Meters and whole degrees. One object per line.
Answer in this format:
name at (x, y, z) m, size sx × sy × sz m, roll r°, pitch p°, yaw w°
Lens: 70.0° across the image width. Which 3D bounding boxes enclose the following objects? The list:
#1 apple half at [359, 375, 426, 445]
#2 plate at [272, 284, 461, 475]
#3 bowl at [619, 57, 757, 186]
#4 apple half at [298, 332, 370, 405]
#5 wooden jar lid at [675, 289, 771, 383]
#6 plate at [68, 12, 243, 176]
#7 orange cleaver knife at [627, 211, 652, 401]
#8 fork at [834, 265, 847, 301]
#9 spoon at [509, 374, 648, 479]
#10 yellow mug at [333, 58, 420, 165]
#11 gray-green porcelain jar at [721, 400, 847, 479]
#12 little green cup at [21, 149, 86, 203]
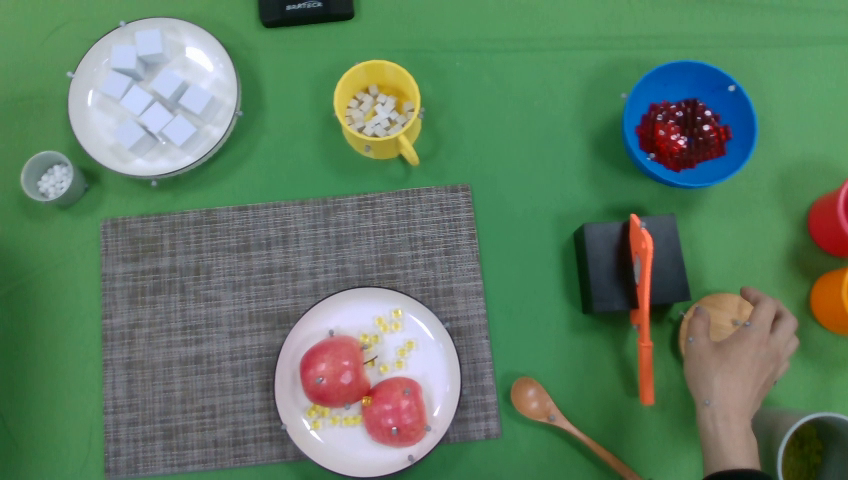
apple half at (-0.035, 0.189, 0.670) m, size 0.081 × 0.033 × 0.081 m, roll 0°, pitch 76°, yaw 1°
plate at (-0.064, 0.153, 0.683) m, size 0.209 × 0.038 × 0.208 m, roll 0°, pitch 81°, yaw 0°
bowl at (0.297, -0.128, 0.714) m, size 0.151 × 0.077 × 0.151 m, roll 0°, pitch 80°, yaw 0°
apple half at (-0.102, 0.143, 0.669) m, size 0.074 × 0.053 × 0.080 m, roll -9°, pitch 81°, yaw 1°
wooden jar lid at (0.344, 0.111, 0.703) m, size 0.108 × 0.021 × 0.108 m, roll 0°, pitch 81°, yaw 1°
plate at (-0.323, -0.176, 0.744) m, size 0.208 × 0.039 × 0.207 m, roll 0°, pitch 80°, yaw 0°
orange cleaver knife at (0.240, 0.074, 0.678) m, size 0.012 × 0.077 × 0.212 m, roll -5°, pitch 104°, yaw 2°
fork at (0.481, 0.097, 0.639) m, size 0.028 × 0.019 × 0.205 m, roll 10°, pitch 37°, yaw 2°
spoon at (0.175, 0.219, 0.682) m, size 0.193 × 0.022 × 0.041 m, roll 37°, pitch 66°, yaw 6°
yellow mug at (-0.046, -0.145, 0.724) m, size 0.100 × 0.064 × 0.130 m, roll -34°, pitch 83°, yaw -6°
gray-green porcelain jar at (0.382, 0.223, 0.629) m, size 0.106 × 0.127 × 0.105 m, roll 0°, pitch 79°, yaw 0°
little green cup at (-0.440, -0.074, 0.725) m, size 0.061 × 0.039 × 0.061 m, roll 0°, pitch 81°, yaw -1°
